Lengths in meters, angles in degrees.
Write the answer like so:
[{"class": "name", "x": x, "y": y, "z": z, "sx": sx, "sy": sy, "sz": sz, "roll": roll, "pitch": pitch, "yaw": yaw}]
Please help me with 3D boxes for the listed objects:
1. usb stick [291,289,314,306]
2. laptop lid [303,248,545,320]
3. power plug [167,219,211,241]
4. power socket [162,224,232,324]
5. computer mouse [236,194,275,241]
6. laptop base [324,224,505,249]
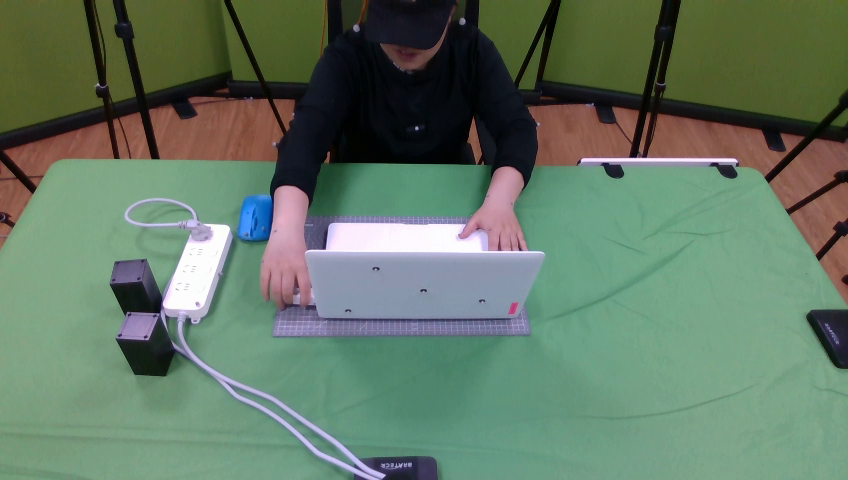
[{"class": "usb stick", "x": -0.203, "y": 0.101, "z": 1.068, "sx": 0.059, "sy": 0.027, "sz": 0.021, "roll": 4, "pitch": 51, "yaw": -5}, {"class": "laptop lid", "x": -0.003, "y": 0.076, "z": 0.962, "sx": 0.357, "sy": 0.242, "sz": 0.013, "roll": 1, "pitch": 58, "yaw": -5}, {"class": "power plug", "x": -0.438, "y": -0.017, "z": 1.143, "sx": 0.072, "sy": 0.053, "sz": 0.035, "roll": 11, "pitch": 45, "yaw": 7}, {"class": "power socket", "x": -0.411, "y": 0.052, "z": 1.106, "sx": 0.072, "sy": 0.033, "sz": 0.225, "roll": 3, "pitch": 45, "yaw": -1}, {"class": "computer mouse", "x": -0.334, "y": -0.048, "z": 1.206, "sx": 0.063, "sy": 0.041, "sz": 0.116, "roll": 2, "pitch": 51, "yaw": -4}, {"class": "laptop base", "x": -0.015, "y": 0.055, "z": 1.145, "sx": 0.355, "sy": 0.023, "sz": 0.234, "roll": 0, "pitch": 43, "yaw": -4}]
